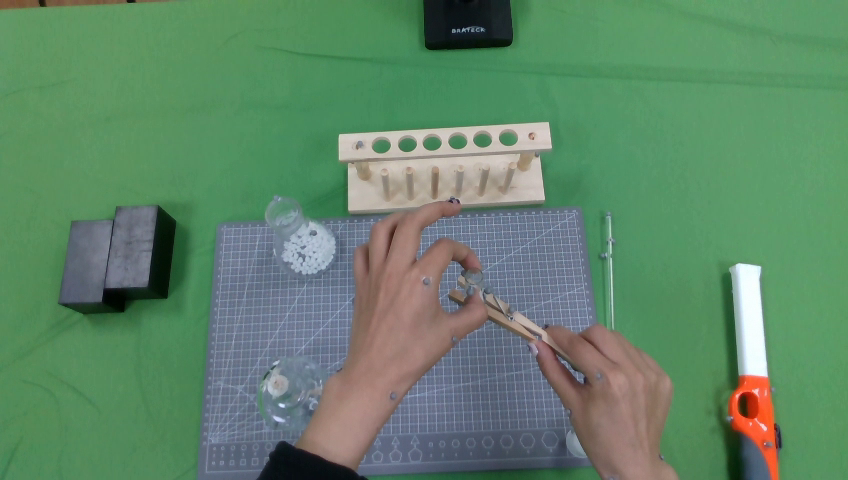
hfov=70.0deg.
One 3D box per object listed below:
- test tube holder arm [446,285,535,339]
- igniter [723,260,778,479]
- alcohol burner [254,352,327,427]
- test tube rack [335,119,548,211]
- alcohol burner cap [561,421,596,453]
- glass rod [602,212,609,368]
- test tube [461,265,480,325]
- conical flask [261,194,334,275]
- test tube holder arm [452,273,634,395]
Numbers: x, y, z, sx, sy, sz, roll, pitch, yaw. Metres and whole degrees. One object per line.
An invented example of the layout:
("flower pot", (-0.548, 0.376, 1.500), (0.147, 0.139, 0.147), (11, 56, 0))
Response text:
("test tube holder arm", (0.059, 0.063, 0.535), (0.087, 0.015, 0.010), (25, 79, 15))
("igniter", (0.355, 0.155, 0.664), (0.057, 0.025, 0.275), (8, 71, -6))
("alcohol burner", (-0.142, 0.152, 0.628), (0.078, 0.120, 0.077), (-1, 70, 3))
("test tube rack", (0.021, -0.087, 0.724), (0.242, 0.086, 0.066), (-3, 71, 0))
("alcohol burner cap", (0.166, 0.207, 0.640), (0.034, 0.048, 0.033), (0, 70, 2))
("glass rod", (0.213, 0.061, 0.709), (0.008, 0.008, 0.198), (4, 73, 2))
("test tube", (0.043, 0.054, 0.554), (0.017, 0.151, 0.017), (-1, 68, 4))
("conical flask", (-0.147, -0.011, 0.678), (0.075, 0.122, 0.075), (0, 71, 1))
("test tube holder arm", (0.100, 0.080, 0.524), (0.177, 0.015, 0.013), (31, 81, 16))
